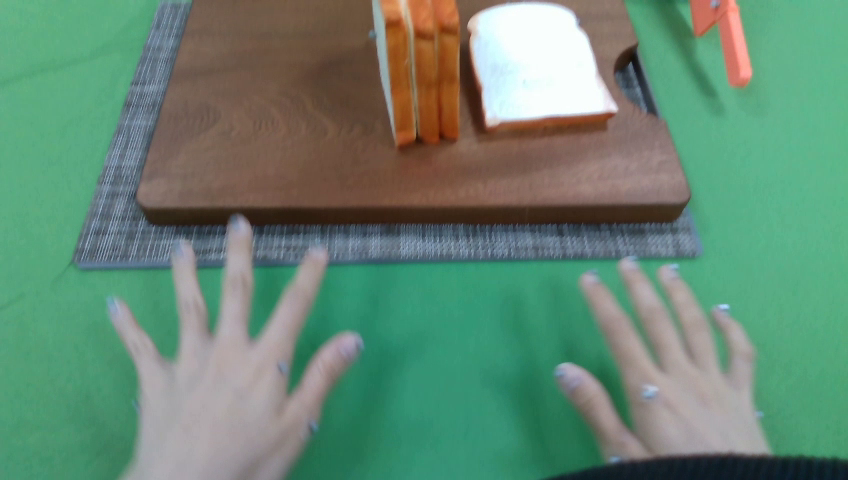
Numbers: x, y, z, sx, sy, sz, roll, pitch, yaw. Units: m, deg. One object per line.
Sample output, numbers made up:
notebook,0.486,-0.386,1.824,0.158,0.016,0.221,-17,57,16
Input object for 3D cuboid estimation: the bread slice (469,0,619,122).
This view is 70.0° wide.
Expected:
bread slice,0.091,-0.152,0.499,0.105,0.019,0.130,-7,61,-5

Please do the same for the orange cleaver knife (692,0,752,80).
orange cleaver knife,0.271,-0.236,0.564,0.012,0.077,0.210,2,75,-5

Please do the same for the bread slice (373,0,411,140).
bread slice,-0.026,-0.156,0.455,0.018,0.108,0.133,-6,49,-5
